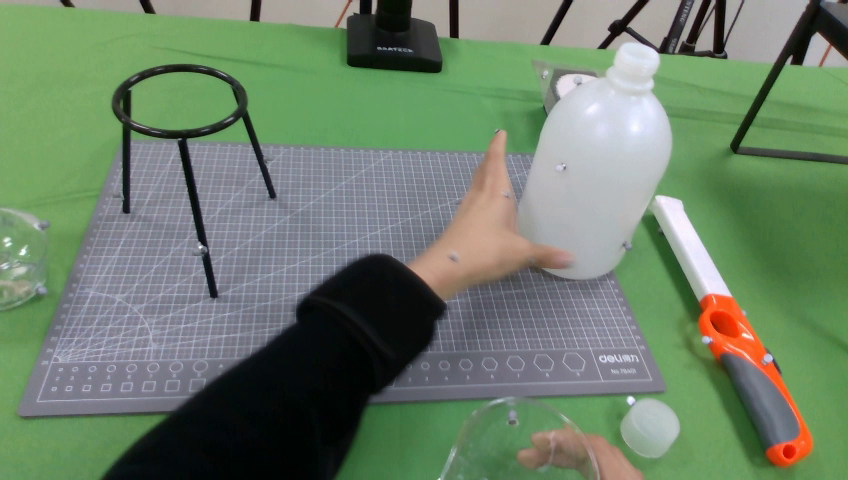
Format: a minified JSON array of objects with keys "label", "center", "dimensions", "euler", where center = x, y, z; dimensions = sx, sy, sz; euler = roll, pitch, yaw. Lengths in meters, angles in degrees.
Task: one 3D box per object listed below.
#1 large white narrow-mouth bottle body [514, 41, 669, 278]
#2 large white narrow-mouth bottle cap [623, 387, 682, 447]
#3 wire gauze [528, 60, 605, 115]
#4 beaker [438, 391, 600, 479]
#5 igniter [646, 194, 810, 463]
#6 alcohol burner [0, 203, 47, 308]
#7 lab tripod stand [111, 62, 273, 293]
[{"label":"large white narrow-mouth bottle body","center":[0.140,-0.065,0.495],"dimensions":[0.102,0.196,0.101],"euler":[5,44,-4]},{"label":"large white narrow-mouth bottle cap","center":[0.163,0.127,0.434],"dimensions":[0.038,0.024,0.037],"euler":[5,44,-4]},{"label":"wire gauze","center":[0.184,-0.162,0.670],"dimensions":[0.122,0.011,0.123],"euler":[2,45,-10]},{"label":"beaker","center":[0.043,0.144,0.337],"dimensions":[0.084,0.101,0.073],"euler":[-7,46,-15]},{"label":"igniter","center":[0.249,0.057,0.516],"dimensions":[0.057,0.025,0.273],"euler":[10,43,-15]},{"label":"alcohol burner","center":[-0.308,-0.008,0.416],"dimensions":[0.078,0.120,0.077],"euler":[6,42,-6]},{"label":"lab tripod stand","center":[-0.176,-0.054,0.469],"dimensions":[0.149,0.132,0.147],"euler":[7,45,-6]}]
